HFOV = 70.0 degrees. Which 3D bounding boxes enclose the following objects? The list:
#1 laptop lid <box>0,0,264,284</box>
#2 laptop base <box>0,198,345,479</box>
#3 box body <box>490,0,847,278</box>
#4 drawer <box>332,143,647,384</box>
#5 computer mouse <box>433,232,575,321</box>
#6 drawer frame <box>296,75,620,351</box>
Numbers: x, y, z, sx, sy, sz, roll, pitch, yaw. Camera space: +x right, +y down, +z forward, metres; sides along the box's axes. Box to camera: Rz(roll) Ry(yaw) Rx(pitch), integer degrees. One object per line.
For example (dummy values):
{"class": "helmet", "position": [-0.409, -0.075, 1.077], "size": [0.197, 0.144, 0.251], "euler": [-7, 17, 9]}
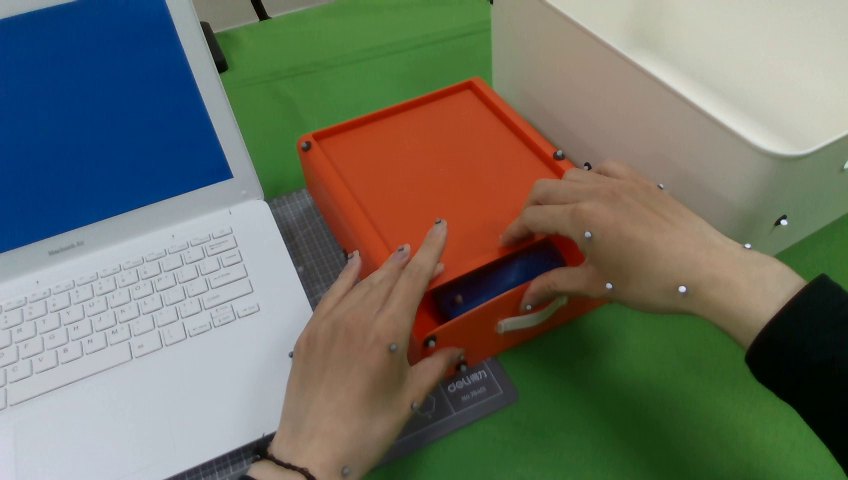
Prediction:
{"class": "laptop lid", "position": [-0.342, -0.082, 0.507], "size": [0.357, 0.243, 0.013], "euler": [-22, 22, -14]}
{"class": "laptop base", "position": [-0.263, 0.101, 0.479], "size": [0.355, 0.023, 0.233], "euler": [-21, 55, -14]}
{"class": "box body", "position": [0.254, -0.162, 0.581], "size": [0.254, 0.162, 0.360], "euler": [-25, 52, -17]}
{"class": "drawer", "position": [0.040, -0.010, 0.515], "size": [0.195, 0.074, 0.209], "euler": [-22, 51, -17]}
{"class": "computer mouse", "position": [0.064, 0.024, 0.496], "size": [0.117, 0.041, 0.062], "euler": [-18, 56, -3]}
{"class": "drawer frame", "position": [0.022, -0.036, 0.536], "size": [0.202, 0.083, 0.211], "euler": [-24, 52, -17]}
